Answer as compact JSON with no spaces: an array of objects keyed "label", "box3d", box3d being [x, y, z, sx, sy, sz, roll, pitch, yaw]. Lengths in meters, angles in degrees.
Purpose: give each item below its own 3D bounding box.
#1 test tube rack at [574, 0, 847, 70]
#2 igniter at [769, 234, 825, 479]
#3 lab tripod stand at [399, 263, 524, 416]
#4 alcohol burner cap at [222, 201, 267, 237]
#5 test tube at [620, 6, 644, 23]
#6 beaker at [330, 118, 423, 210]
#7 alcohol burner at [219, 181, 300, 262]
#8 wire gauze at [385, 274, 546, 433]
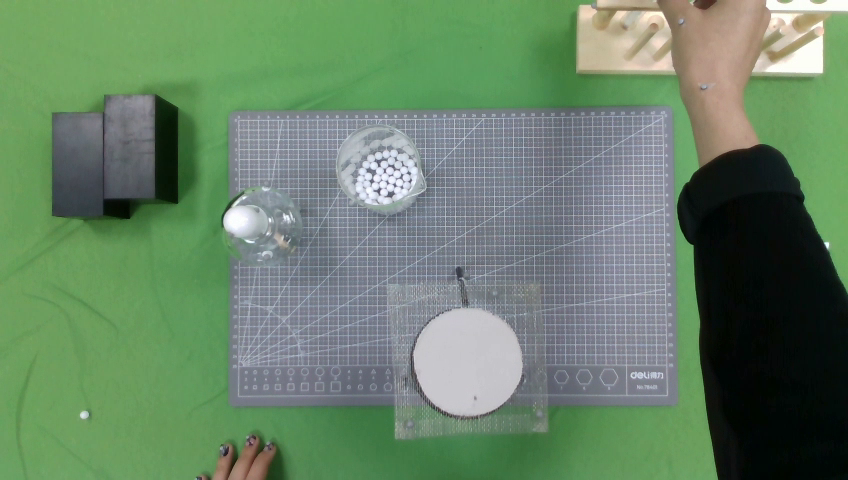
[{"label":"test tube rack","box3d":[0.273,-0.208,0.575,0.242,0.085,0.066,1,88,1]},{"label":"igniter","box3d":[0.368,0.132,0.596,0.057,0.025,0.276,4,89,-8]},{"label":"lab tripod stand","box3d":[0.033,0.094,0.548,0.148,0.131,0.148,0,88,3]},{"label":"alcohol burner cap","box3d":[-0.157,-0.019,0.527,0.034,0.048,0.034,0,91,-3]},{"label":"test tube","box3d":[0.200,-0.225,0.526,0.017,0.150,0.017,0,87,-1]},{"label":"beaker","box3d":[-0.038,-0.065,0.569,0.084,0.100,0.074,24,90,1]},{"label":"alcohol burner","box3d":[-0.157,-0.018,0.563,0.078,0.119,0.078,0,86,2]},{"label":"wire gauze","box3d":[0.033,0.089,0.481,0.125,0.011,0.121,-2,87,1]}]
